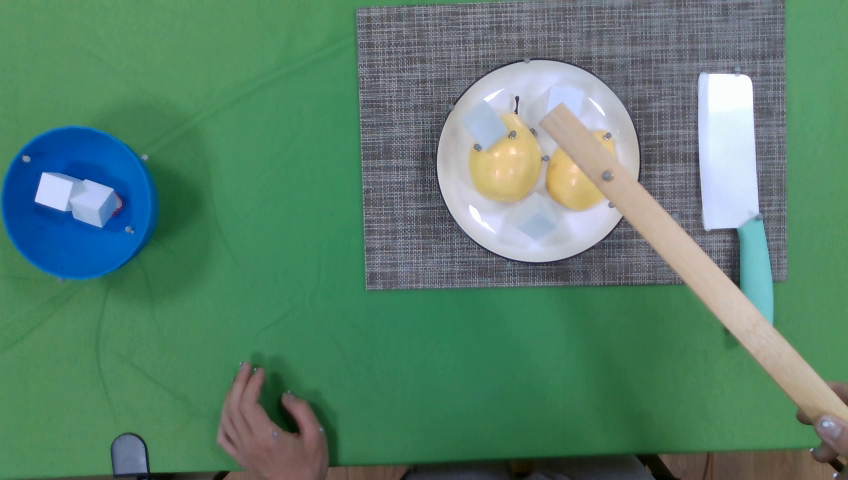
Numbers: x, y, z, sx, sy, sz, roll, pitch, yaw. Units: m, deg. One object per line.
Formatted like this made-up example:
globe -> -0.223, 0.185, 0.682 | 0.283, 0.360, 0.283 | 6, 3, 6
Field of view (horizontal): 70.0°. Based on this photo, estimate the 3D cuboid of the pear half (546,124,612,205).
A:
pear half -> 0.166, -0.079, 0.622 | 0.070, 0.031, 0.088 | 29, 98, -3

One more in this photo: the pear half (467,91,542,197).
pear half -> 0.085, -0.101, 0.614 | 0.076, 0.056, 0.109 | 7, 89, -3

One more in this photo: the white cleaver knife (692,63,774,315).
white cleaver knife -> 0.327, -0.045, 0.644 | 0.065, 0.021, 0.286 | -5, 90, 31

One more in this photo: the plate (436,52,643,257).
plate -> 0.117, -0.086, 0.628 | 0.207, 0.039, 0.207 | 0, 93, 2

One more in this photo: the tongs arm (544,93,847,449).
tongs arm -> 0.223, 0.039, 0.444 | 0.028, 0.028, 0.386 | -41, 80, 10

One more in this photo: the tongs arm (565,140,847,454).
tongs arm -> 0.245, 0.041, 0.498 | 0.026, 0.051, 0.382 | -41, 74, 14

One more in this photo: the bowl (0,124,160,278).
bowl -> -0.336, -0.039, 0.625 | 0.151, 0.077, 0.151 | 0, 93, 1
